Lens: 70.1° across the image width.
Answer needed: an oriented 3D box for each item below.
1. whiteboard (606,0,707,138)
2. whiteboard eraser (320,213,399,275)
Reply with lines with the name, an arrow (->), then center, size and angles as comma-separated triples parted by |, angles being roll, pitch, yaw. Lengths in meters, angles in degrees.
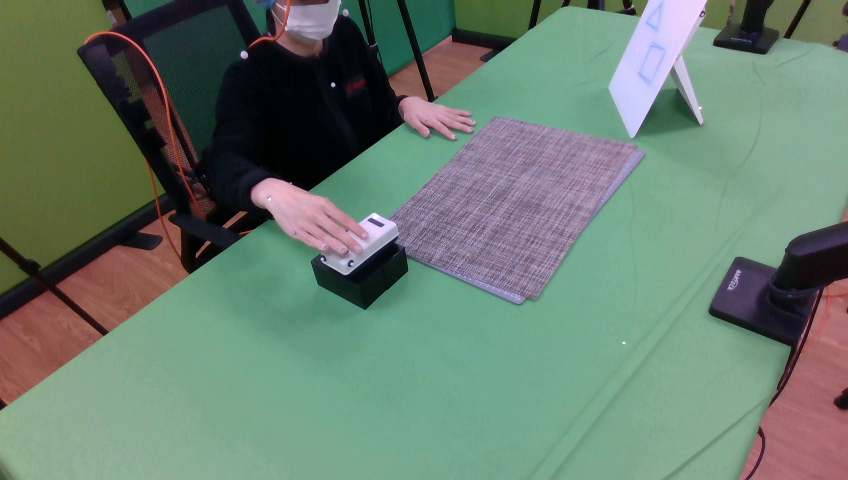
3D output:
whiteboard -> 0.496, -0.359, 1.147 | 0.144, 0.305, 0.216 | 11, 40, -7
whiteboard eraser -> -0.092, 0.007, 0.884 | 0.055, 0.042, 0.113 | 28, 51, 32
